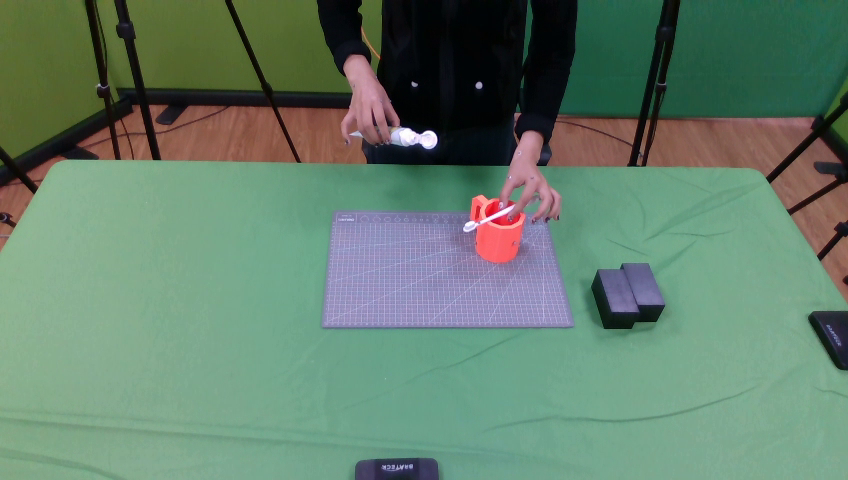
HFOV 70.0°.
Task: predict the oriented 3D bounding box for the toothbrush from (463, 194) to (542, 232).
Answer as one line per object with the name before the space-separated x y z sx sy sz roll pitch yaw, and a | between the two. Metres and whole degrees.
toothbrush | 0.149 -0.054 1.131 0.182 0.017 0.014 -23 48 -24

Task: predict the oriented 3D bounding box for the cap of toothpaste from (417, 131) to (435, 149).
cap of toothpaste | 0.004 -0.193 1.166 0.037 0.037 0.011 21 13 16

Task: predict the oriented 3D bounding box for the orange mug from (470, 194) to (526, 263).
orange mug | 0.136 -0.031 1.180 0.083 0.101 0.125 -26 57 -26

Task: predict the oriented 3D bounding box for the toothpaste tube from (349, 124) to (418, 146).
toothpaste tube | -0.076 -0.213 1.204 0.164 0.034 0.055 17 35 38
